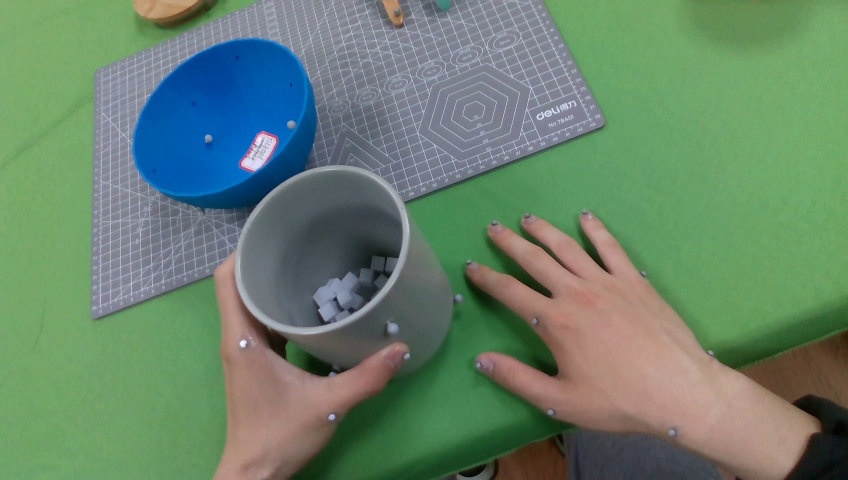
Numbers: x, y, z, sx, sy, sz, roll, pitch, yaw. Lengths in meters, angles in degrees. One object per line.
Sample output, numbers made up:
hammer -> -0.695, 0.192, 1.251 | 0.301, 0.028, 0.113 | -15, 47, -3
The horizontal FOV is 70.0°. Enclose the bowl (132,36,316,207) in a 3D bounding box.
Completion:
bowl -> -0.149, -0.083, 0.499 | 0.151, 0.077, 0.150 | -7, 63, 13

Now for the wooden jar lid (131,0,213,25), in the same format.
wooden jar lid -> -0.269, -0.279, 0.666 | 0.108, 0.021, 0.107 | -6, 63, 12

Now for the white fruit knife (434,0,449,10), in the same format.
white fruit knife -> -0.016, -0.309, 0.571 | 0.016, 0.027, 0.206 | -21, 75, 4

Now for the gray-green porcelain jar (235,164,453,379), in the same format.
gray-green porcelain jar -> -0.041, 0.028, 0.389 | 0.105, 0.128, 0.105 | -7, 63, 14

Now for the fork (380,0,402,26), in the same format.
fork -> -0.062, -0.294, 0.575 | 0.028, 0.019, 0.206 | -22, 79, -1
